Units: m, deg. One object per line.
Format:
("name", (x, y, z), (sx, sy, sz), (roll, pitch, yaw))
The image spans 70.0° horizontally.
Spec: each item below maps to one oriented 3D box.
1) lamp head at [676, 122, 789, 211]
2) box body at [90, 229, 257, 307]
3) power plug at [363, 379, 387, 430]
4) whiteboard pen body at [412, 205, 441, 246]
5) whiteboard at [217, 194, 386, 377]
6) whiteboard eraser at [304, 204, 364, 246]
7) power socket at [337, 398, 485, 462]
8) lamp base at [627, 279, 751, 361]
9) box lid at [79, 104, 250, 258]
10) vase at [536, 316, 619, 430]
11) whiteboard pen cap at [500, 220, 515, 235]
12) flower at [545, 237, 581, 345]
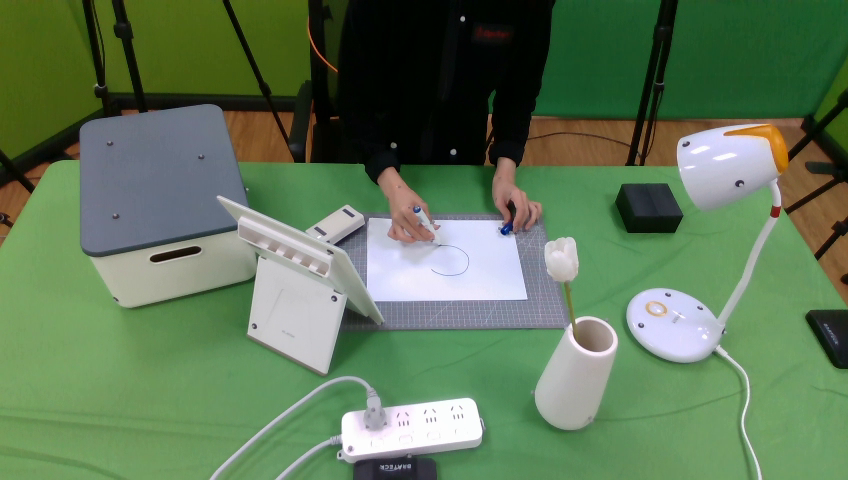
("lamp head", (0.423, -0.104, 0.819), (0.122, 0.113, 0.112), (-13, 33, 40))
("box body", (-0.471, -0.070, 1.131), (0.254, 0.161, 0.361), (-14, 49, -17))
("power plug", (-0.072, 0.252, 0.911), (0.035, 0.053, 0.072), (3, 40, 0))
("whiteboard pen body", (0.008, -0.024, 1.143), (0.017, 0.141, 0.017), (-11, 57, 17))
("whiteboard", (-0.212, 0.093, 0.938), (0.216, 0.307, 0.143), (24, 70, 17))
("whiteboard eraser", (-0.175, -0.022, 1.188), (0.055, 0.042, 0.112), (36, 53, 26))
("power socket", (-0.018, 0.285, 0.914), (0.227, 0.033, 0.071), (-4, 46, -8))
("lamp base", (0.460, 0.100, 1.027), (0.178, 0.181, 0.160), (27, 51, 17))
("box lid", (-0.467, -0.121, 1.075), (0.264, 0.015, 0.369), (-13, 49, -17))
("vase", (0.229, 0.200, 0.901), (0.098, 0.201, 0.097), (3, 46, -3))
("whiteboard pen cap", (0.169, -0.024, 1.234), (0.018, 0.018, 0.033), (31, 56, 23))
("flower", (0.213, 0.137, 0.846), (0.038, 0.364, 0.044), (22, 55, 40))
